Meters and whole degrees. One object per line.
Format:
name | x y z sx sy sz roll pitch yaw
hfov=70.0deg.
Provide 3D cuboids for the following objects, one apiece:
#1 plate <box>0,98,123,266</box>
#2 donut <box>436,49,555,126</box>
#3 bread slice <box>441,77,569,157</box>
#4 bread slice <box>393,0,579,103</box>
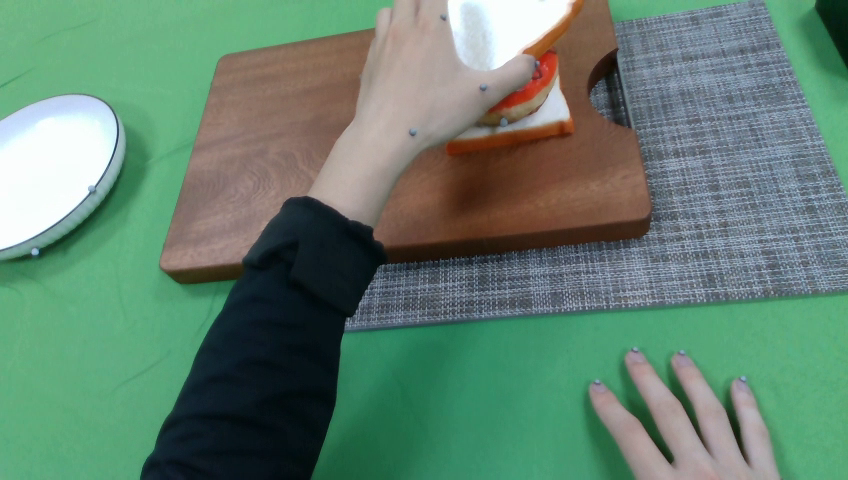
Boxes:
plate | -0.402 -0.059 0.625 0.209 0.038 0.207 -7 57 11
donut | 0.057 -0.137 0.494 0.099 0.049 0.098 -7 57 12
bread slice | 0.062 -0.133 0.528 0.105 0.019 0.130 -9 58 8
bread slice | 0.054 -0.166 0.473 0.106 0.018 0.134 29 68 29
